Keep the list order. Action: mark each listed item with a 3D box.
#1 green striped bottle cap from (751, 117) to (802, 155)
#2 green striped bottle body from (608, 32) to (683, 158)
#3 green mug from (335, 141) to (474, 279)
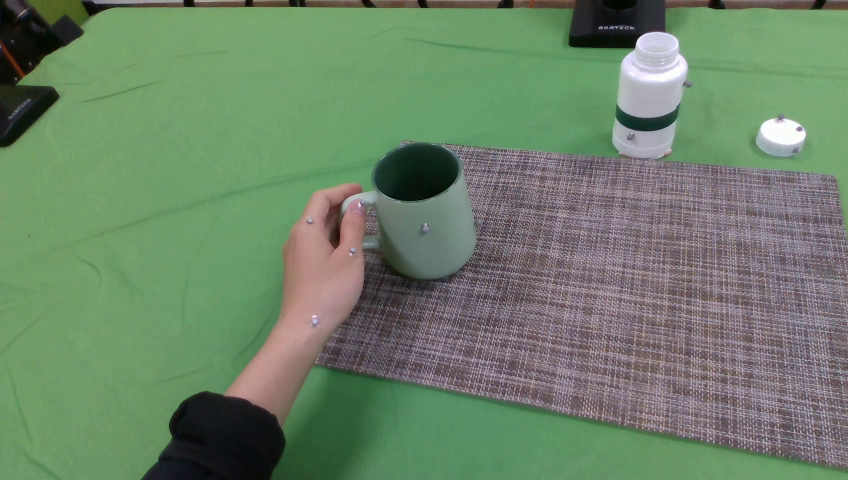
[{"bbox_3d":[0.365,-0.108,0.627,0.044,0.020,0.044,-3,45,4],"label":"green striped bottle cap"},{"bbox_3d":[0.225,-0.148,0.618,0.063,0.120,0.062,-5,48,6],"label":"green striped bottle body"},{"bbox_3d":[-0.019,-0.021,0.554,0.125,0.106,0.091,-13,48,-1],"label":"green mug"}]
